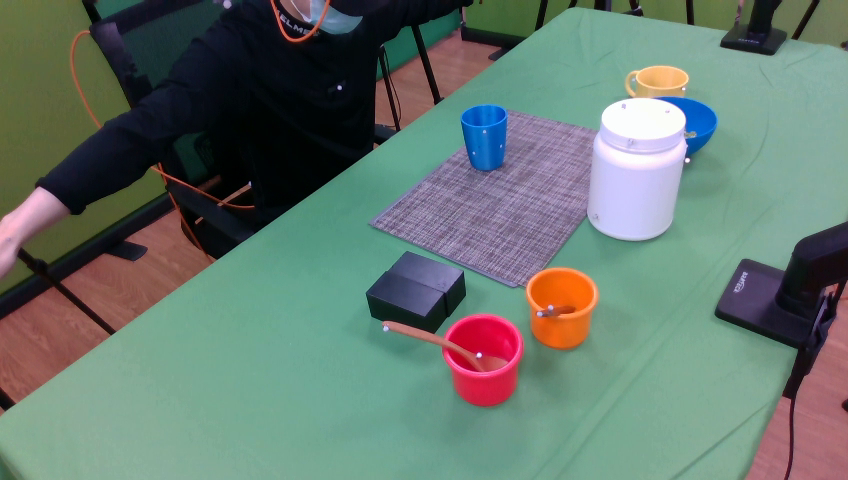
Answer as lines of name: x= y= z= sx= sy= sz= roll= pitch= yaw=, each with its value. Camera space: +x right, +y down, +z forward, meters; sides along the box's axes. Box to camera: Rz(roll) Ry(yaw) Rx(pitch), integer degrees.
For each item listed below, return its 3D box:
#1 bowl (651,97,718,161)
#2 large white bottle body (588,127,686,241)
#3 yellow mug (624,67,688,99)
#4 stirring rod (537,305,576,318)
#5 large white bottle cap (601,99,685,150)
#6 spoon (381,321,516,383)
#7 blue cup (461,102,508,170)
bowl: x=0.439 y=-0.187 z=1.087 sx=0.151 sy=0.077 sz=0.150 roll=-4 pitch=41 yaw=4
large white bottle body: x=0.324 y=-0.105 z=0.926 sx=0.130 sy=0.185 sz=0.130 roll=-4 pitch=41 yaw=4
yellow mug: x=0.464 y=-0.305 z=1.230 sx=0.100 sy=0.064 sz=0.129 roll=-34 pitch=46 yaw=-27
stirring rod: x=0.168 y=0.088 z=0.759 sx=0.014 sy=0.006 sz=0.177 roll=8 pitch=1 yaw=24
large white bottle cap: x=0.314 y=-0.168 z=0.870 sx=0.115 sy=0.018 sz=0.114 roll=-4 pitch=41 yaw=4
spoon: x=0.033 y=0.131 z=0.726 sx=0.195 sy=0.021 sz=0.041 roll=29 pitch=29 yaw=-26
blue cup: x=0.114 y=-0.185 z=1.109 sx=0.092 sy=0.100 sz=0.092 roll=-5 pitch=39 yaw=5
